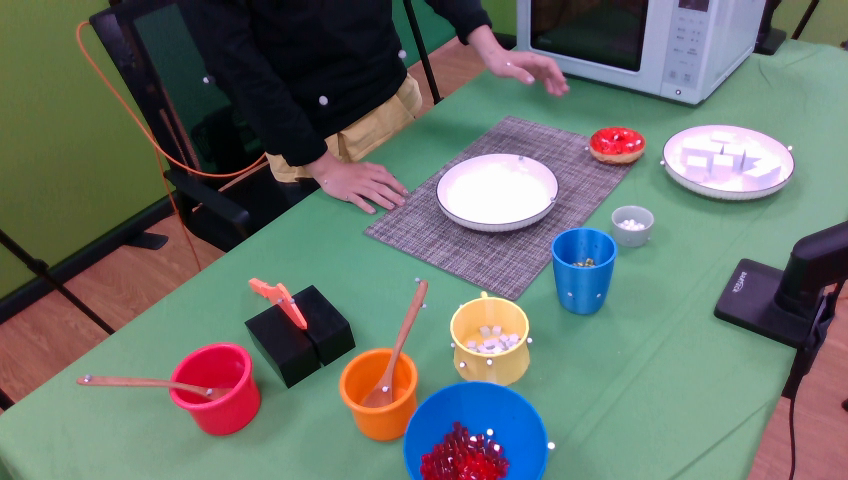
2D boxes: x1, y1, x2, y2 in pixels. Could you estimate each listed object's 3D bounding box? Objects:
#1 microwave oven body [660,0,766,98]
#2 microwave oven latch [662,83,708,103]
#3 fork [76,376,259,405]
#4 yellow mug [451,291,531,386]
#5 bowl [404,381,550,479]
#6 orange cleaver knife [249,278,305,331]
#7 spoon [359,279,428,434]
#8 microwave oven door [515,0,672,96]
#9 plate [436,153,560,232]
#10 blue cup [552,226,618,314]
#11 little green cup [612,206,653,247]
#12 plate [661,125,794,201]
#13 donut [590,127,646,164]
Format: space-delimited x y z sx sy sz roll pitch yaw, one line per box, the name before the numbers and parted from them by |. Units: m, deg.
microwave oven body | 0.472 -0.513 1.317 0.438 0.261 0.327 26 51 34
microwave oven latch | 0.518 -0.296 1.204 0.078 0.029 0.030 27 52 35
fork | -0.295 0.176 0.716 0.209 0.018 0.028 19 27 -36
yellow mug | 0.085 0.120 0.786 0.100 0.064 0.130 -7 39 1
bowl | 0.058 0.235 0.645 0.151 0.077 0.150 -4 39 4
orange cleaver knife | -0.210 0.088 0.856 0.012 0.077 0.210 -28 15 -25
spoon | -0.032 0.138 0.719 0.041 0.193 0.022 22 4 30
microwave oven door | 0.344 -0.455 1.260 0.353 0.245 0.039 26 51 33
plate | 0.125 -0.078 1.029 0.209 0.038 0.208 -4 40 4
blue cup | 0.218 0.047 0.826 0.092 0.101 0.092 -6 40 5
little green cup | 0.321 -0.019 0.936 0.061 0.039 0.061 -4 41 4
plate | 0.513 -0.128 1.035 0.207 0.039 0.206 -4 40 4
donut | 0.353 -0.174 1.103 0.099 0.048 0.098 -4 38 4
